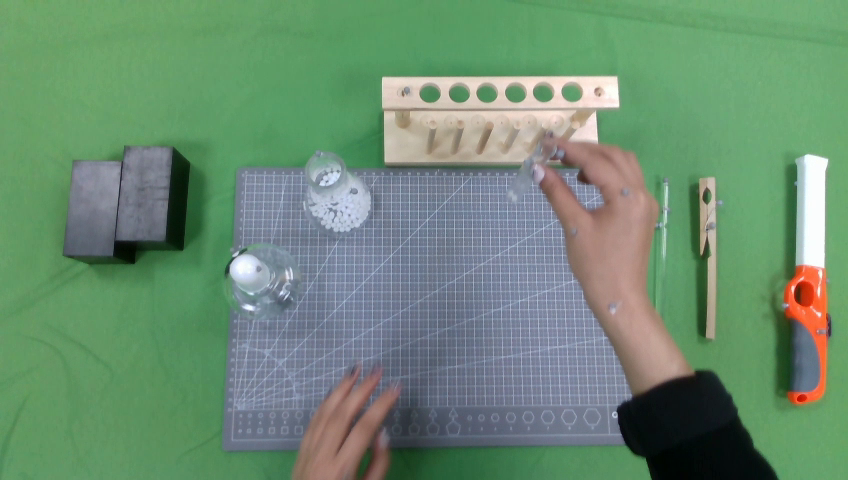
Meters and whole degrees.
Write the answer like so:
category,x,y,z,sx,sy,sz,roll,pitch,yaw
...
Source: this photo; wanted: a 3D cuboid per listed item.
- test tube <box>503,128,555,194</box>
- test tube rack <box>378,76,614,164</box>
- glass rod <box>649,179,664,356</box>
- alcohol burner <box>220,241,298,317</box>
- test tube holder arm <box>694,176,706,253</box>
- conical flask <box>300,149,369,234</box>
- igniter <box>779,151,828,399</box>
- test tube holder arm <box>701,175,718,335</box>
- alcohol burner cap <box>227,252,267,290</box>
category,x,y,z,sx,sy,sz,roll,pitch,yaw
test tube,0.086,-0.063,0.513,0.017,0.150,0.017,0,81,-2
test tube rack,0.073,-0.128,0.655,0.242,0.085,0.066,-1,79,-3
glass rod,0.258,0.029,0.672,0.008,0.008,0.199,7,81,-1
alcohol burner,-0.167,0.035,0.596,0.078,0.119,0.077,0,78,0
test tube holder arm,0.312,-0.029,0.683,0.010,0.015,0.087,-5,78,34
conical flask,-0.096,-0.053,0.611,0.075,0.122,0.075,0,79,-2
igniter,0.420,0.036,0.669,0.057,0.025,0.275,10,79,-11
test tube holder arm,0.316,0.015,0.672,0.013,0.015,0.177,-7,77,34
alcohol burner cap,-0.165,0.027,0.561,0.034,0.048,0.033,2,75,-6
